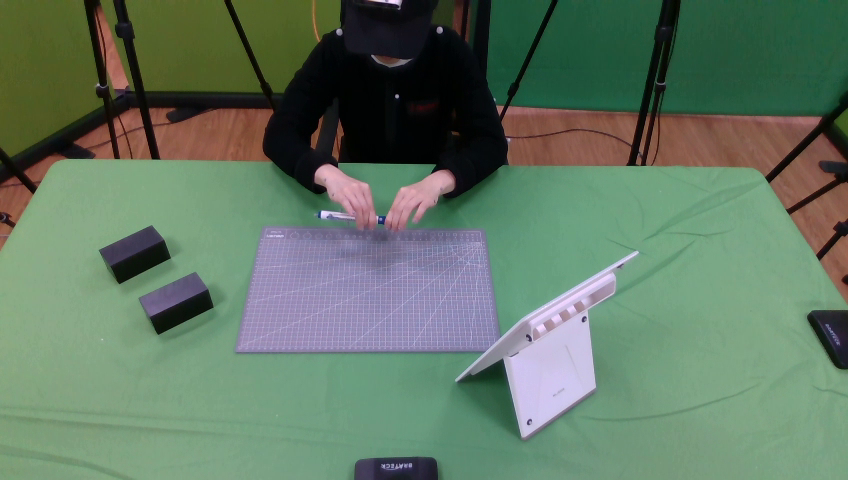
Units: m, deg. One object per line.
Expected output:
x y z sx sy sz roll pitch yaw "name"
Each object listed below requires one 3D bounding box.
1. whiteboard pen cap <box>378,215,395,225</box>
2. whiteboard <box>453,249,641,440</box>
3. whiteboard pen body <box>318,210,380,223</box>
-0.071 -0.039 1.143 0.033 0.018 0.018 6 46 1 "whiteboard pen cap"
0.206 0.174 0.890 0.217 0.306 0.143 -24 72 -25 "whiteboard"
-0.130 -0.043 1.141 0.141 0.017 0.017 5 46 -3 "whiteboard pen body"
